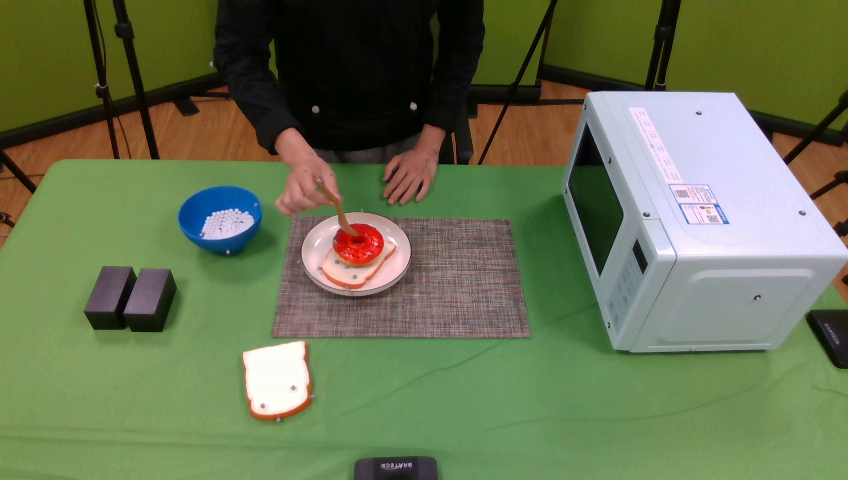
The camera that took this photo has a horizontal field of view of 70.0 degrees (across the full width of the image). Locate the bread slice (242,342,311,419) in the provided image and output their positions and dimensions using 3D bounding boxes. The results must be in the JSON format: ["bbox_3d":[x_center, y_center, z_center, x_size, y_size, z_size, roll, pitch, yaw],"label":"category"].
[{"bbox_3d":[-0.234,0.223,0.970,0.105,0.019,0.130,-10,46,-12],"label":"bread slice"}]

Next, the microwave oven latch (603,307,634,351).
[{"bbox_3d":[0.332,0.153,1.044,0.030,0.029,0.078,0,45,-4],"label":"microwave oven latch"}]

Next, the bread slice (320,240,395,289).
[{"bbox_3d":[-0.129,0.037,1.141,0.107,0.018,0.134,19,47,14],"label":"bread slice"}]

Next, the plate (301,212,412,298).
[{"bbox_3d":[-0.126,0.031,1.145,0.208,0.039,0.206,2,46,-2],"label":"plate"}]

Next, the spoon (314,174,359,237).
[{"bbox_3d":[-0.147,-0.056,1.014,0.041,0.195,0.021,37,72,27],"label":"spoon"}]

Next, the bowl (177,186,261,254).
[{"bbox_3d":[-0.383,-0.026,1.158,0.151,0.077,0.150,2,46,-2],"label":"bowl"}]

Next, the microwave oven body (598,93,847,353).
[{"bbox_3d":[0.475,-0.041,1.109,0.326,0.261,0.438,-1,45,-4],"label":"microwave oven body"}]

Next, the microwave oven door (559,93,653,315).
[{"bbox_3d":[0.327,-0.074,1.123,0.039,0.245,0.353,-1,46,-5],"label":"microwave oven door"}]

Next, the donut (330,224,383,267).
[{"bbox_3d":[-0.125,0.010,1.127,0.099,0.048,0.098,3,45,-3],"label":"donut"}]
